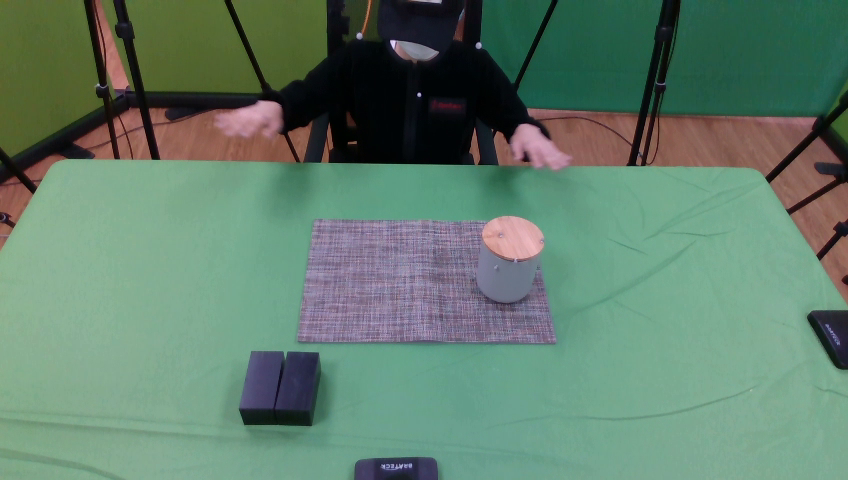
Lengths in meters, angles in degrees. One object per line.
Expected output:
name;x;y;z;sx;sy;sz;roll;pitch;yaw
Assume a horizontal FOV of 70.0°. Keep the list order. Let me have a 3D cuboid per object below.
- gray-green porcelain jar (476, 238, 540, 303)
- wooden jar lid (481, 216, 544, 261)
gray-green porcelain jar;0.149;0.044;1.090;0.106;0.127;0.105;2;46;-2
wooden jar lid;0.152;0.001;1.045;0.108;0.021;0.107;3;44;-3
